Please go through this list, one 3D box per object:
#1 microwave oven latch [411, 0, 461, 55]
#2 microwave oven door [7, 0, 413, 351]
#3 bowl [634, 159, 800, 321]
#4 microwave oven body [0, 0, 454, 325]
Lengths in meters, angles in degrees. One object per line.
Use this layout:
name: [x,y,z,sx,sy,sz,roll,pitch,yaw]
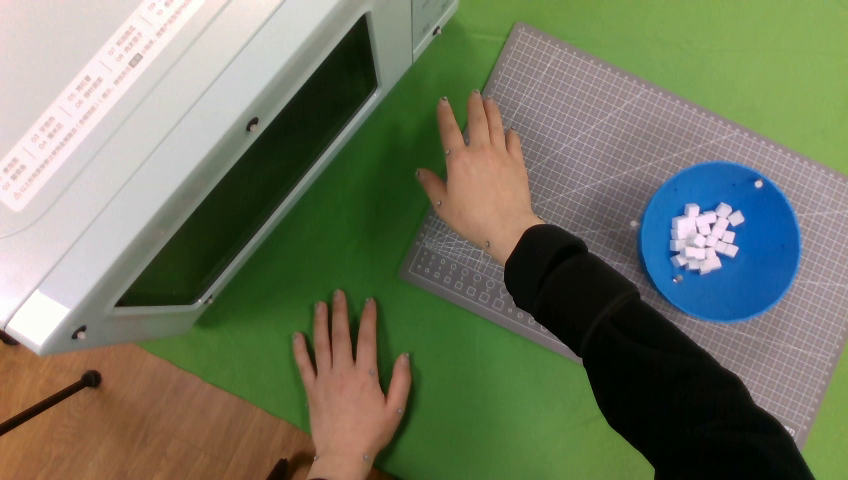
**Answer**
microwave oven latch: [0.005,-0.226,0.608,0.030,0.029,0.079,42,86,1]
microwave oven door: [-0.134,-0.067,0.491,0.039,0.244,0.355,39,86,2]
bowl: [0.271,0.003,0.594,0.151,0.077,0.151,0,86,-1]
microwave oven body: [-0.220,-0.191,0.503,0.326,0.260,0.441,39,86,1]
